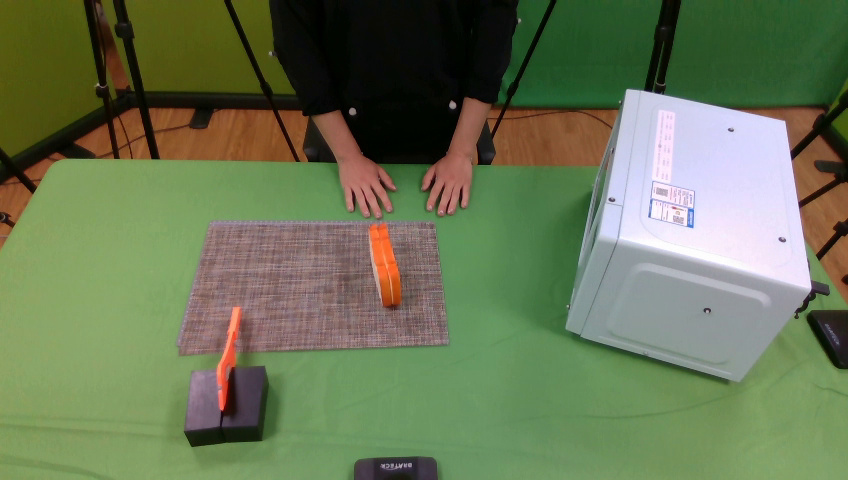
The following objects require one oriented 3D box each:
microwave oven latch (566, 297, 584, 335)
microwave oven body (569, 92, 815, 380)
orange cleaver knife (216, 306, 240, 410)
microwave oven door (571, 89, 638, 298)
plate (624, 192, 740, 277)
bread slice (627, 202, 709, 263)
[{"bbox_3d":[0.268,0.126,1.059,0.030,0.029,0.079,16,46,12],"label":"microwave oven latch"},{"bbox_3d":[0.468,-0.022,1.082,0.325,0.261,0.440,15,46,11],"label":"microwave oven body"},{"bbox_3d":[-0.307,0.180,0.957,0.012,0.077,0.210,-2,25,-8],"label":"orange cleaver knife"},{"bbox_3d":[0.343,-0.091,1.133,0.039,0.245,0.354,15,47,10],"label":"microwave oven door"},{"bbox_3d":[0.481,-0.007,1.144,0.208,0.039,0.206,0,48,0],"label":"plate"},{"bbox_3d":[0.474,-0.022,1.167,0.134,0.018,0.106,-29,54,-15],"label":"bread slice"}]
